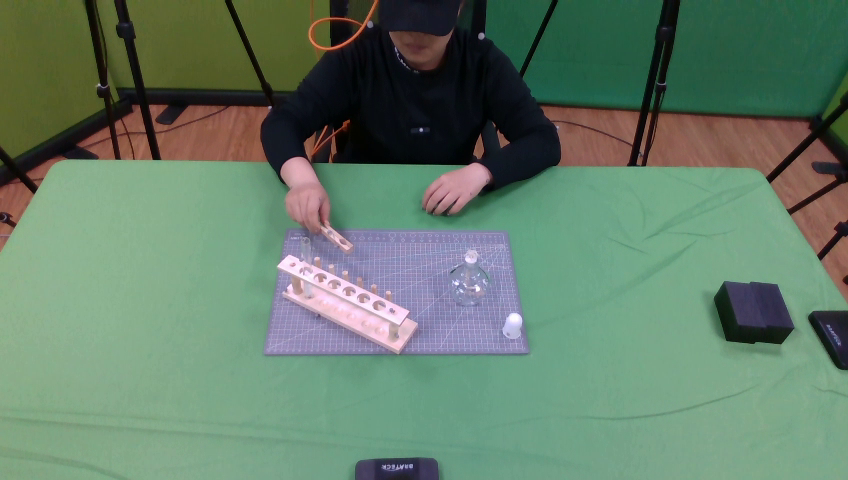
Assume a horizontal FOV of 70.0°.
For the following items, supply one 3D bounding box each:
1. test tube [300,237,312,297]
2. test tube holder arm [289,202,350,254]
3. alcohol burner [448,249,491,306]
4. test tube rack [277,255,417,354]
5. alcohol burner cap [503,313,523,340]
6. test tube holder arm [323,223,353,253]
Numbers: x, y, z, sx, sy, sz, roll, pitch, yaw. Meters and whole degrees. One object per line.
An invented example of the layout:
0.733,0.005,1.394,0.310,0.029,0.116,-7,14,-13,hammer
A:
-0.198,0.049,1.019,0.017,0.151,0.017,4,49,-5,test tube
-0.201,-0.025,1.149,0.177,0.015,0.013,35,49,28,test tube holder arm
0.081,0.062,1.078,0.078,0.120,0.077,1,45,-1,alcohol burner
-0.131,0.099,1.045,0.241,0.085,0.066,23,49,17,test tube rack
0.156,0.147,1.051,0.034,0.048,0.033,1,45,-1,alcohol burner cap
-0.164,-0.005,1.131,0.087,0.015,0.010,36,49,29,test tube holder arm
